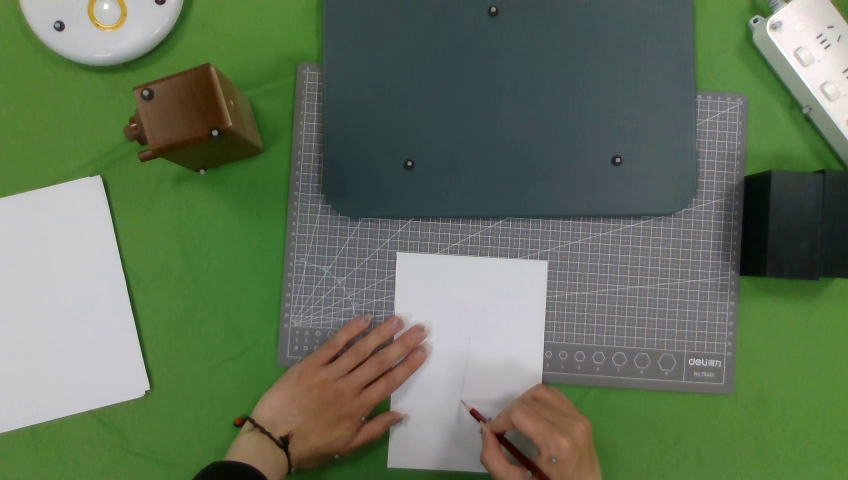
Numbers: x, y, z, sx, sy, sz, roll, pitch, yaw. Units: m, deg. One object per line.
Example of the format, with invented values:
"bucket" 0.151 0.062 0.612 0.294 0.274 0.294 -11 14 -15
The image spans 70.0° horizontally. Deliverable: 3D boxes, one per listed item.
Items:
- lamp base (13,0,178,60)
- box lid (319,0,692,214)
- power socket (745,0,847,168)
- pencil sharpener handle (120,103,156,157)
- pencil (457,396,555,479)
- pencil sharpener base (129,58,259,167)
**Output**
"lamp base" -0.321 -0.267 0.509 0.160 0.180 0.179 -28 87 -2
"box lid" 0.082 -0.158 0.599 0.372 0.015 0.263 -1 89 -1
"power socket" 0.411 -0.151 0.596 0.072 0.032 0.226 -37 89 -2
"pencil sharpener handle" -0.251 -0.091 0.531 0.030 0.068 0.036 -17 76 -1
"pencil" 0.083 0.184 0.519 0.012 0.192 0.012 -13 115 -29
"pencil sharpener base" -0.204 -0.110 0.545 0.077 0.107 0.061 -17 89 -1
